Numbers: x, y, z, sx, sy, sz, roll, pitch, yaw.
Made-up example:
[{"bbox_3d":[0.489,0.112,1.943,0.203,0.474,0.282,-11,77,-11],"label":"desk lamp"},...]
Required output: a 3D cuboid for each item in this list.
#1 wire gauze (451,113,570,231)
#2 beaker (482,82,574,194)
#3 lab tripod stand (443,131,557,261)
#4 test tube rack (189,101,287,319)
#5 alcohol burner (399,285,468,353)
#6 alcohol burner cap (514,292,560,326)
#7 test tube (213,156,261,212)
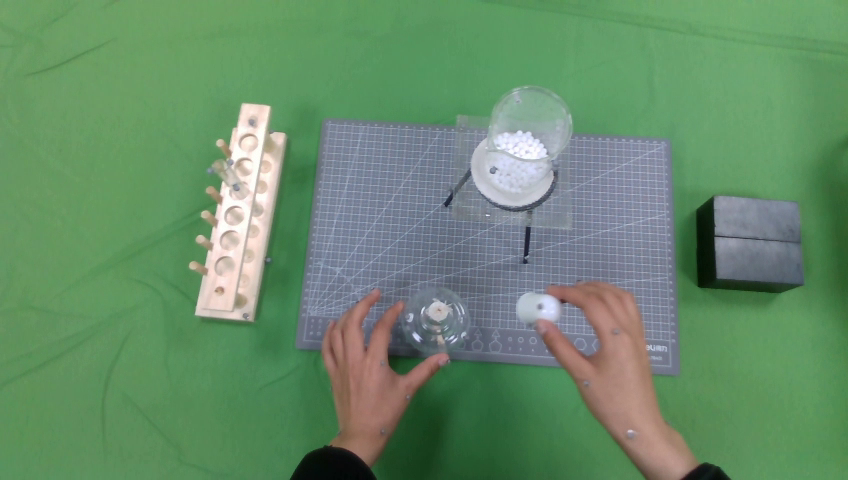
[{"bbox_3d":[0.092,-0.073,0.629,0.125,0.011,0.121,5,75,-1],"label":"wire gauze"},{"bbox_3d":[0.093,-0.091,0.584,0.084,0.101,0.073,-29,77,-8],"label":"beaker"},{"bbox_3d":[0.096,-0.060,0.693,0.148,0.132,0.147,0,73,1],"label":"lab tripod stand"},{"bbox_3d":[-0.223,-0.035,0.713,0.067,0.085,0.241,6,75,2],"label":"test tube rack"},{"bbox_3d":[0.012,0.084,0.665,0.078,0.119,0.077,1,75,-2],"label":"alcohol burner"},{"bbox_3d":[0.108,0.065,0.565,0.034,0.048,0.034,2,85,-16],"label":"alcohol burner cap"},{"bbox_3d":[-0.203,-0.058,0.668,0.017,0.151,0.017,1,76,-2],"label":"test tube"}]
